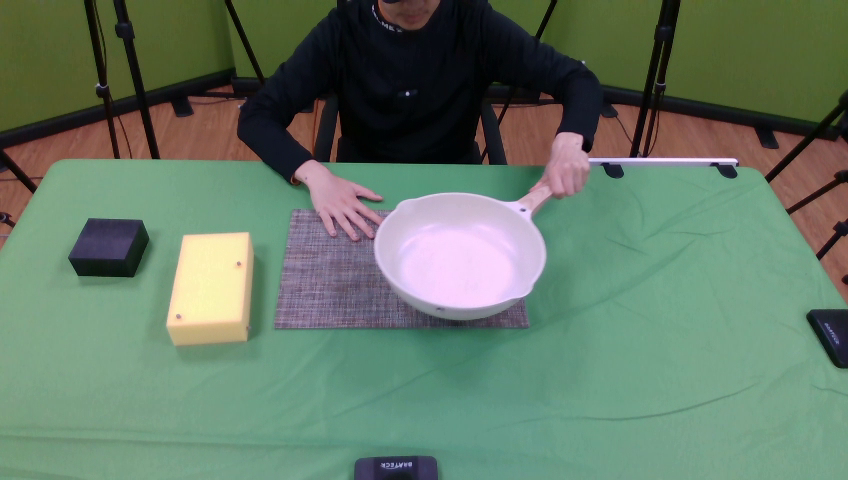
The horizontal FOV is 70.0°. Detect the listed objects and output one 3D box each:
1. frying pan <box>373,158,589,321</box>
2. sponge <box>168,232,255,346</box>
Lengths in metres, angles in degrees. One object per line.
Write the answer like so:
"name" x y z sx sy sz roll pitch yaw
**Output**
"frying pan" 0.137 -0.025 1.088 0.488 0.103 0.305 -34 54 -23
"sponge" -0.368 0.081 1.065 0.118 0.061 0.205 -4 47 -7
